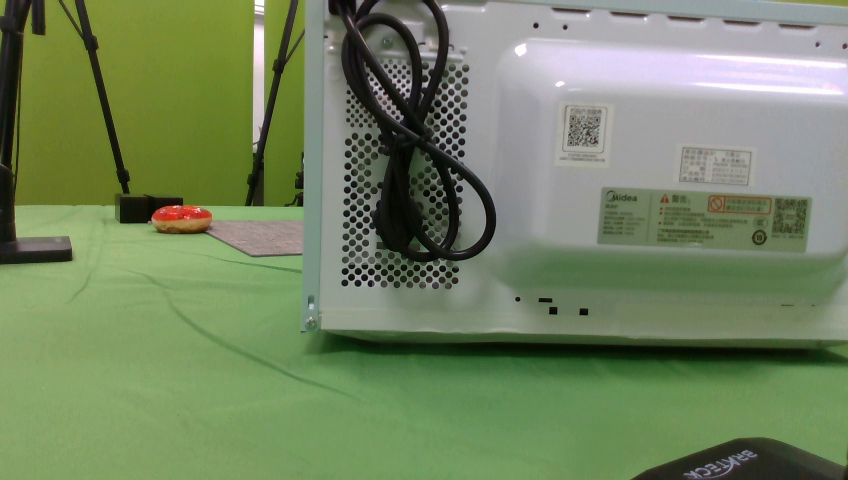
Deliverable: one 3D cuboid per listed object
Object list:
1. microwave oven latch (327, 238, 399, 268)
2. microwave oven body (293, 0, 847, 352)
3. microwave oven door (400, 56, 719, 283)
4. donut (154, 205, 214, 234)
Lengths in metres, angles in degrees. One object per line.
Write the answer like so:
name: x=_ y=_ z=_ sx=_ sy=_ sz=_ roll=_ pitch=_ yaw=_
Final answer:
microwave oven latch: x=-0.069 y=0.015 z=0.694 sx=0.079 sy=0.029 sz=0.030 roll=3 pitch=7 yaw=-3
microwave oven body: x=0.122 y=-0.055 z=0.550 sx=0.442 sy=0.260 sz=0.325 roll=3 pitch=7 yaw=-5
microwave oven door: x=0.155 y=-0.077 z=0.698 sx=0.356 sy=0.243 sz=0.039 roll=2 pitch=8 yaw=-5
donut: x=-0.426 y=-0.037 z=1.075 sx=0.099 sy=0.048 sz=0.099 roll=2 pitch=12 yaw=0
